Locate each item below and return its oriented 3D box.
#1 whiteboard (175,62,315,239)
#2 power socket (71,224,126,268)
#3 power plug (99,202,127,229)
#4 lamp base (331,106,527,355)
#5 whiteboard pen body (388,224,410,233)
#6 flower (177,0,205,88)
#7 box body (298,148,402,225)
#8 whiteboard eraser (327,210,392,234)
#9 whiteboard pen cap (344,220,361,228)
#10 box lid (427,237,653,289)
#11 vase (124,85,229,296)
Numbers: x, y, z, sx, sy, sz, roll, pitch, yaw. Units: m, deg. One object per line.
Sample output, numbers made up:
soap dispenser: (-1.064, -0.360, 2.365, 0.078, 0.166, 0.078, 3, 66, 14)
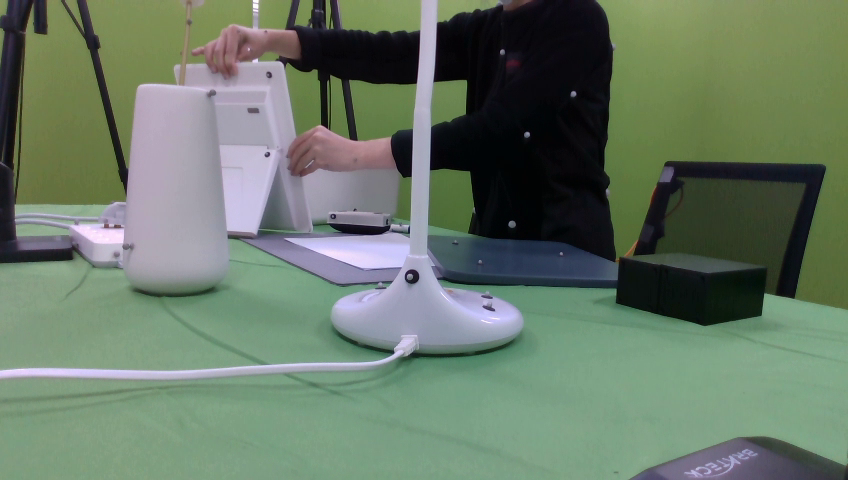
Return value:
whiteboard: (-0.338, -0.130, 1.018, 0.216, 0.305, 0.144, 4, 27, 21)
power socket: (-0.409, 0.004, 0.793, 0.072, 0.032, 0.225, -2, 8, -37)
power plug: (-0.414, -0.026, 0.848, 0.073, 0.052, 0.035, 5, 5, -27)
lamp base: (0.006, -0.012, 0.478, 0.161, 0.180, 0.179, 2, 10, 2)
whiteboard pen body: (-0.088, -0.026, 1.213, 0.140, 0.017, 0.017, 5, 8, 17)
flower: (-0.243, -0.131, 0.609, 0.044, 0.361, 0.038, -5, -12, 10)
box body: (-0.254, -0.128, 1.379, 0.253, 0.160, 0.366, 8, 9, 36)
whiteboard eraser: (-0.121, -0.033, 1.131, 0.112, 0.042, 0.056, 4, 8, 13)
whiteboard pen cap: (-0.144, -0.032, 1.231, 0.033, 0.018, 0.018, 5, 8, 17)
box lid: (0.139, 0.028, 0.886, 0.264, 0.015, 0.371, 2, 7, -6)
vase: (-0.244, -0.047, 0.598, 0.098, 0.200, 0.098, 3, 8, 0)
